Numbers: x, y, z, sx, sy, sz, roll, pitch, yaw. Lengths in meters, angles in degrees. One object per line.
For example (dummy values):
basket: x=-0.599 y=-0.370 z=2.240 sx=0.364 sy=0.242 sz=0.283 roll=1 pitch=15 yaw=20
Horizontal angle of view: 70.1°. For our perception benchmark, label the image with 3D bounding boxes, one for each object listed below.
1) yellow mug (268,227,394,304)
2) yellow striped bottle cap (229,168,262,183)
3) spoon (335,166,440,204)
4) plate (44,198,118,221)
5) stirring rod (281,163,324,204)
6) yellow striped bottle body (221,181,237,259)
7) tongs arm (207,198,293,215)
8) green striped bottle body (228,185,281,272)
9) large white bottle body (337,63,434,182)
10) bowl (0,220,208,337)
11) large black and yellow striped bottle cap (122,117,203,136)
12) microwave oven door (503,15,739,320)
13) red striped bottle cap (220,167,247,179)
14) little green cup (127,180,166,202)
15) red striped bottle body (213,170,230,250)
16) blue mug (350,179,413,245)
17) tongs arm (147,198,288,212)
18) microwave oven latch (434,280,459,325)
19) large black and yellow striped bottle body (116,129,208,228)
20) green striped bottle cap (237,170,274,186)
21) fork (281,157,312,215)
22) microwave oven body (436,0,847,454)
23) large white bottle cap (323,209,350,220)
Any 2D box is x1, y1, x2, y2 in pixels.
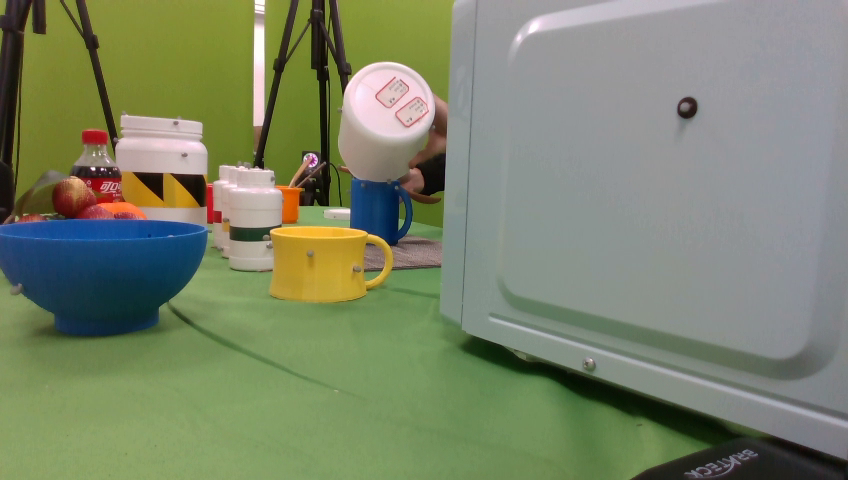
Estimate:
yellow mug: x=-0.094 y=0.023 z=0.629 sx=0.131 sy=0.064 sz=0.099 roll=0 pitch=7 yaw=-22
yellow striped bottle cap: x=-0.240 y=-0.087 z=0.816 sx=0.044 sy=0.018 sz=0.044 roll=-4 pitch=5 yaw=1
spoon: x=-0.063 y=-0.098 z=1.069 sx=0.194 sy=0.021 sz=0.041 roll=21 pitch=-9 yaw=-8
plate: x=-0.617 y=-0.056 z=1.179 sx=0.209 sy=0.038 sz=0.209 roll=3 pitch=7 yaw=0
stirring rod: x=-0.278 y=-0.105 z=1.293 sx=0.176 sy=0.006 sz=0.014 roll=-46 pitch=25 yaw=-18
yellow striped bottle body: x=-0.244 y=-0.035 z=0.823 sx=0.063 sy=0.120 sz=0.063 roll=2 pitch=8 yaw=0
tongs arm: x=-0.423 y=-0.084 z=1.472 sx=0.050 sy=0.026 sz=0.386 roll=1 pitch=6 yaw=22
green striped bottle body: x=-0.208 y=-0.023 z=0.745 sx=0.063 sy=0.119 sz=0.063 roll=2 pitch=7 yaw=0
large white bottle body: x=-0.064 y=-0.167 z=0.923 sx=0.131 sy=0.130 sz=0.184 roll=1 pitch=-17 yaw=-12
bowl: x=-0.251 y=0.029 z=0.479 sx=0.151 sy=0.077 sz=0.151 roll=2 pitch=7 yaw=0
large black and yellow striped bottle cap: x=-0.399 y=-0.174 z=0.927 sx=0.115 sy=0.019 sz=0.115 roll=5 pitch=9 yaw=-1
microwave oven door: x=0.217 y=-0.065 z=0.601 sx=0.358 sy=0.243 sz=0.039 roll=-4 pitch=10 yaw=-41
red striped bottle cap: x=-0.281 y=-0.100 z=0.901 sx=0.044 sy=0.017 sz=0.044 roll=-1 pitch=5 yaw=0
little green cup: x=-0.485 y=-0.087 z=1.062 sx=0.061 sy=0.038 sz=0.061 roll=0 pitch=6 yaw=0
red striped bottle body: x=-0.283 y=-0.047 z=0.909 sx=0.063 sy=0.119 sz=0.063 roll=3 pitch=14 yaw=0
blue mug: x=-0.068 y=-0.047 z=1.001 sx=0.116 sy=0.106 sz=0.083 roll=6 pitch=9 yaw=29
tongs arm: x=-0.503 y=-0.090 z=1.513 sx=0.028 sy=0.028 sz=0.389 roll=-1 pitch=3 yaw=38
microwave oven latch: x=0.044 y=0.045 z=0.470 sx=0.079 sy=0.029 sz=0.030 roll=-2 pitch=8 yaw=-39
large black and yellow striped bottle body: x=-0.404 y=-0.089 z=0.937 sx=0.131 sy=0.184 sz=0.130 roll=3 pitch=7 yaw=0
green striped bottle cap: x=-0.205 y=-0.075 z=0.737 sx=0.044 sy=0.020 sz=0.044 roll=1 pitch=6 yaw=0
fork: x=-0.289 y=-0.116 z=1.321 sx=0.028 sy=0.019 sz=0.207 roll=7 pitch=51 yaw=18
microwave oven body: x=0.279 y=-0.040 z=0.464 sx=0.444 sy=0.260 sz=0.324 roll=-3 pitch=9 yaw=-41
large white bottle cap: x=-0.184 y=-0.062 z=1.449 sx=0.115 sy=0.018 sz=0.115 roll=2 pitch=8 yaw=0
